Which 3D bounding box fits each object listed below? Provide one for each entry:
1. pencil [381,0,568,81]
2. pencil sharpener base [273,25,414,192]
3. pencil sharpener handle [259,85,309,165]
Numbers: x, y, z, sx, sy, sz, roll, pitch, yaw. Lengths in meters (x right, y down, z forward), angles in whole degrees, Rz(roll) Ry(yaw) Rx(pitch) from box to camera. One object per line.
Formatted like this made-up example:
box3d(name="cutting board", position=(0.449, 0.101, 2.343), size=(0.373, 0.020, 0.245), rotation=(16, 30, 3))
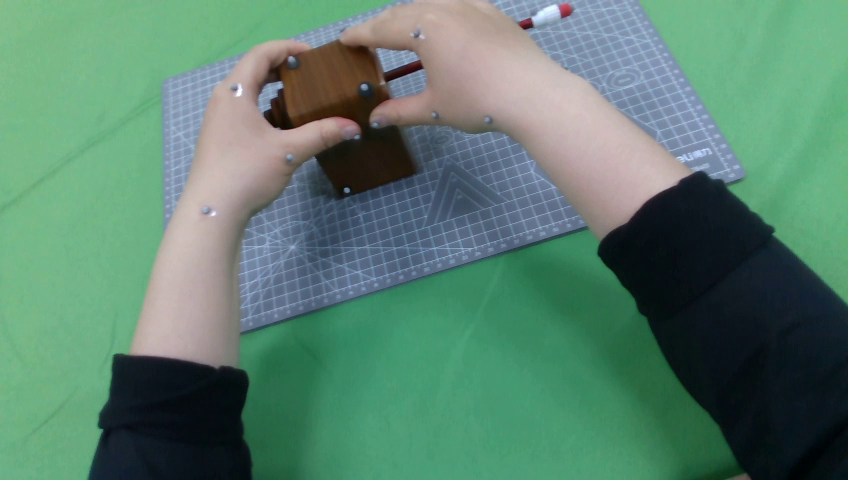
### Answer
box3d(name="pencil", position=(0.011, -0.133, 0.433), size=(0.194, 0.012, 0.012), rotation=(-21, 60, 3))
box3d(name="pencil sharpener base", position=(-0.060, -0.095, 0.463), size=(0.076, 0.108, 0.061), rotation=(-20, 60, 3))
box3d(name="pencil sharpener handle", position=(-0.110, -0.082, 0.454), size=(0.030, 0.068, 0.035), rotation=(-20, 57, 3))
